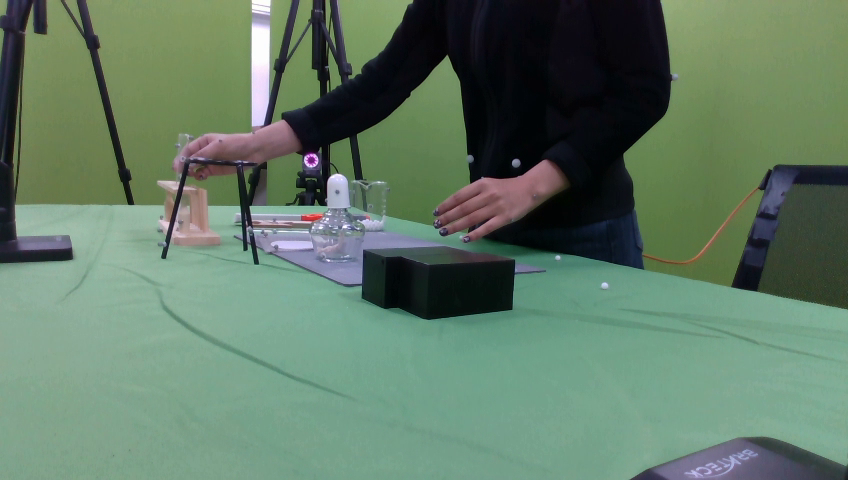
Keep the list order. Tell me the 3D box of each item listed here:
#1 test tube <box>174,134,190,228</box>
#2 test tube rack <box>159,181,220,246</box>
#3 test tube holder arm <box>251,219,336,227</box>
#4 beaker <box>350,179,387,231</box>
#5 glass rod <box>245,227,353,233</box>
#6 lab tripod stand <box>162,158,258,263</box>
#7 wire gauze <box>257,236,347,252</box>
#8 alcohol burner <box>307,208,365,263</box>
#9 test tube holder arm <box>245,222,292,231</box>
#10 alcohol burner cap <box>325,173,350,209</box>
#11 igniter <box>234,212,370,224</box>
[{"bbox_3d":[-0.386,-0.094,0.963,0.017,0.150,0.017,4,2,0],"label":"test tube"},{"bbox_3d":[-0.396,-0.049,1.010,0.067,0.085,0.241,-2,8,-28],"label":"test tube rack"},{"bbox_3d":[-0.254,-0.031,1.157,0.179,0.015,0.013,-3,47,-31],"label":"test tube holder arm"},{"bbox_3d":[-0.111,-0.069,1.204,0.074,0.100,0.084,2,8,0],"label":"beaker"},{"bbox_3d":[-0.225,-0.017,1.108,0.201,0.008,0.008,1,7,-27],"label":"glass rod"},{"bbox_3d":[-0.265,-0.041,0.802,0.148,0.131,0.148,4,7,0],"label":"lab tripod stand"},{"bbox_3d":[-0.190,0.006,0.931,0.122,0.011,0.124,1,7,-21],"label":"wire gauze"},{"bbox_3d":[-0.117,-0.030,0.813,0.078,0.119,0.078,3,9,0],"label":"alcohol burner"},{"bbox_3d":[-0.291,-0.025,1.130,0.088,0.015,0.010,-2,47,-30],"label":"test tube holder arm"},{"bbox_3d":[-0.117,-0.065,0.807,0.034,0.048,0.034,-3,10,1],"label":"alcohol burner cap"},{"bbox_3d":[-0.246,-0.045,1.247,0.278,0.025,0.057,-1,-2,-26],"label":"igniter"}]
